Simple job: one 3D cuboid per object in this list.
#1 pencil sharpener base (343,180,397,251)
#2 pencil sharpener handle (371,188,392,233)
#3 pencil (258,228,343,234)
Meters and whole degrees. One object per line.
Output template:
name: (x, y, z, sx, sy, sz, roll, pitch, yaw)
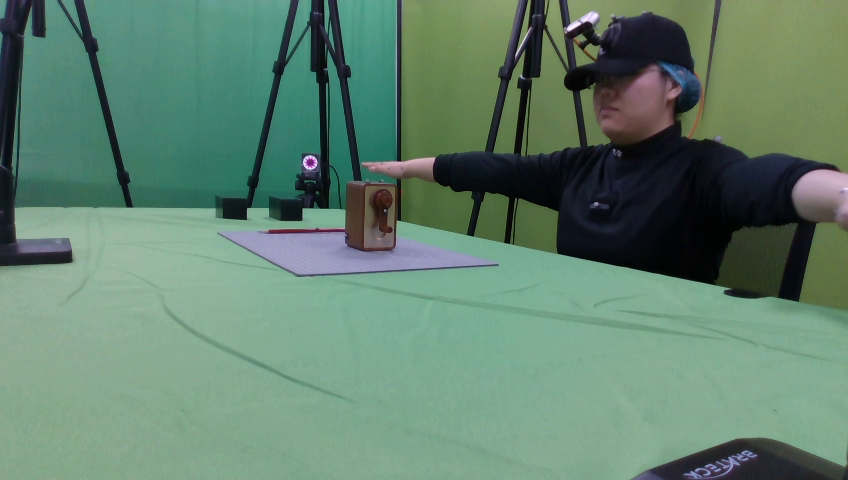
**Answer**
pencil sharpener base: (-0.085, -0.039, 0.958, 0.062, 0.107, 0.076, -1, 8, -31)
pencil sharpener handle: (-0.058, -0.044, 0.913, 0.036, 0.067, 0.030, -1, 8, -31)
pencil: (-0.213, -0.017, 1.131, 0.195, 0.012, 0.012, -2, 8, -26)
